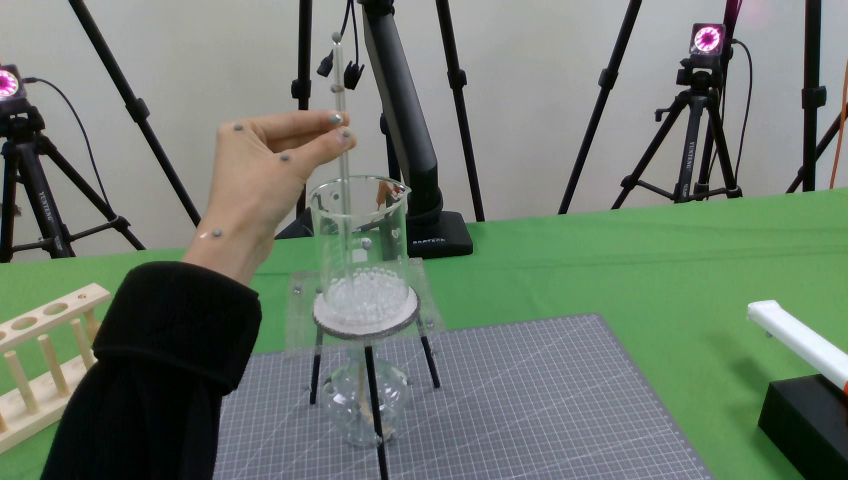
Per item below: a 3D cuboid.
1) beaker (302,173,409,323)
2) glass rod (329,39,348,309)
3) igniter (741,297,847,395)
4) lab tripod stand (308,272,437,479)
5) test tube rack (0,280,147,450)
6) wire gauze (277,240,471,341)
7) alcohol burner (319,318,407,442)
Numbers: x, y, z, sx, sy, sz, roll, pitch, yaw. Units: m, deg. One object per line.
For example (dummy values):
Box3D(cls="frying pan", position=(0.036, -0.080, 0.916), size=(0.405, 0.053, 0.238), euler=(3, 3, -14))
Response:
Box3D(cls="beaker", position=(-0.048, 0.006, 0.474), size=(0.084, 0.101, 0.073), euler=(-17, 33, -26))
Box3D(cls="glass rod", position=(-0.061, -0.039, 0.438), size=(0.008, 0.201, 0.008), euler=(1, 22, 0))
Box3D(cls="igniter", position=(0.358, 0.122, 0.491), size=(0.057, 0.025, 0.274), euler=(-7, 25, -8))
Box3D(cls="lab tripod stand", position=(-0.045, 0.108, 0.527), size=(0.148, 0.132, 0.147), euler=(0, 30, 0))
Box3D(cls="test tube rack", position=(-0.396, 0.135, 0.559), size=(0.066, 0.086, 0.242), euler=(19, 35, 33))
Box3D(cls="wire gauze", position=(-0.043, 0.038, 0.485), size=(0.125, 0.011, 0.120), euler=(-12, 28, -27))
Box3D(cls="alcohol burner", position=(-0.054, 0.117, 0.531), size=(0.078, 0.120, 0.077), euler=(0, 28, 0))
